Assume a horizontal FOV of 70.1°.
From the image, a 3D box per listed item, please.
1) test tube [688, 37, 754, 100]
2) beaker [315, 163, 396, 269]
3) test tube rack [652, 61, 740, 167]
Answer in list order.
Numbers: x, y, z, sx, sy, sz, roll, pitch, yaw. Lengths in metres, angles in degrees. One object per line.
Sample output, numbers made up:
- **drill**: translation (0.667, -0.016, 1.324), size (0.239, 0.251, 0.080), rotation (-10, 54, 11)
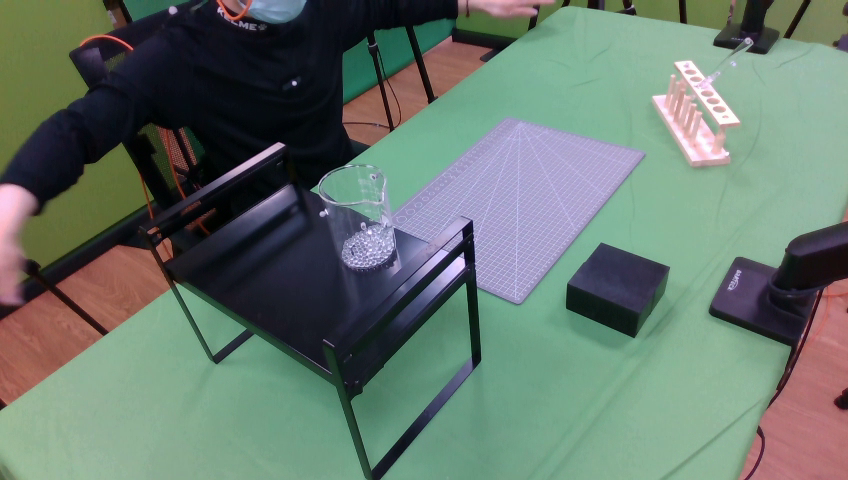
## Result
- **test tube**: translation (0.526, -0.302, 1.077), size (0.017, 0.150, 0.017), rotation (10, 58, -16)
- **beaker**: translation (-0.070, -0.024, 0.671), size (0.083, 0.101, 0.074), rotation (27, 52, 32)
- **test tube rack**: translation (0.499, -0.241, 1.130), size (0.067, 0.085, 0.241), rotation (-5, 41, 3)
